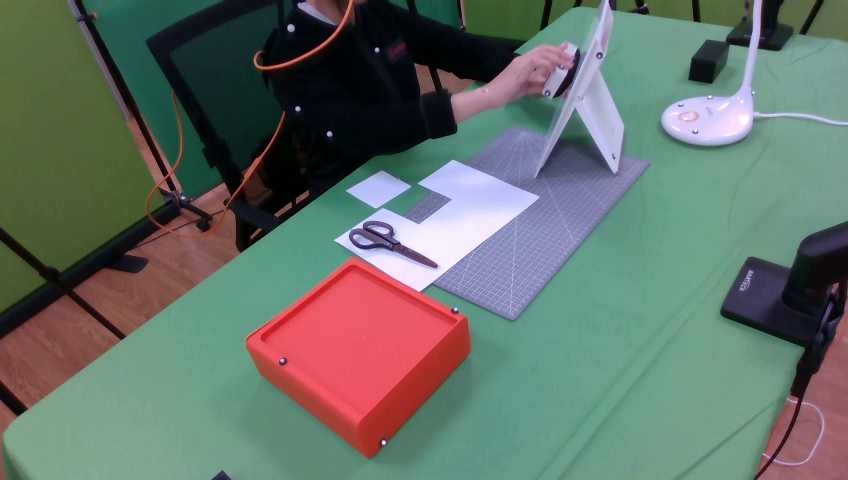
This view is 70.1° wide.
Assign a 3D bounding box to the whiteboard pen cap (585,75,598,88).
[{"bbox_3d":[0.362,-0.343,1.310,0.018,0.018,0.033,20,54,29],"label":"whiteboard pen cap"}]

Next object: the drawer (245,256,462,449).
[{"bbox_3d":[-0.089,0.136,0.792,0.210,0.073,0.195,27,51,34],"label":"drawer"}]

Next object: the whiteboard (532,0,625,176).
[{"bbox_3d":[0.320,-0.258,1.050,0.144,0.306,0.217,21,45,5],"label":"whiteboard"}]

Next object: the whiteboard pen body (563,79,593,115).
[{"bbox_3d":[0.328,-0.306,1.278,0.017,0.017,0.141,20,51,30],"label":"whiteboard pen body"}]

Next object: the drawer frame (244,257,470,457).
[{"bbox_3d":[-0.084,0.138,0.788,0.212,0.083,0.202,25,50,33],"label":"drawer frame"}]

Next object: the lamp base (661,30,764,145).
[{"bbox_3d":[0.535,-0.287,1.096,0.179,0.181,0.159,-10,40,-4],"label":"lamp base"}]

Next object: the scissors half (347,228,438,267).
[{"bbox_3d":[-0.054,0.015,0.974,0.174,0.013,0.040,19,38,24],"label":"scissors half"}]

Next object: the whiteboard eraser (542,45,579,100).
[{"bbox_3d":[0.243,-0.294,1.065,0.042,0.055,0.112,32,46,-3],"label":"whiteboard eraser"}]

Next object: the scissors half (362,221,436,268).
[{"bbox_3d":[-0.040,0.007,0.988,0.040,0.013,0.173,-20,38,-36],"label":"scissors half"}]
